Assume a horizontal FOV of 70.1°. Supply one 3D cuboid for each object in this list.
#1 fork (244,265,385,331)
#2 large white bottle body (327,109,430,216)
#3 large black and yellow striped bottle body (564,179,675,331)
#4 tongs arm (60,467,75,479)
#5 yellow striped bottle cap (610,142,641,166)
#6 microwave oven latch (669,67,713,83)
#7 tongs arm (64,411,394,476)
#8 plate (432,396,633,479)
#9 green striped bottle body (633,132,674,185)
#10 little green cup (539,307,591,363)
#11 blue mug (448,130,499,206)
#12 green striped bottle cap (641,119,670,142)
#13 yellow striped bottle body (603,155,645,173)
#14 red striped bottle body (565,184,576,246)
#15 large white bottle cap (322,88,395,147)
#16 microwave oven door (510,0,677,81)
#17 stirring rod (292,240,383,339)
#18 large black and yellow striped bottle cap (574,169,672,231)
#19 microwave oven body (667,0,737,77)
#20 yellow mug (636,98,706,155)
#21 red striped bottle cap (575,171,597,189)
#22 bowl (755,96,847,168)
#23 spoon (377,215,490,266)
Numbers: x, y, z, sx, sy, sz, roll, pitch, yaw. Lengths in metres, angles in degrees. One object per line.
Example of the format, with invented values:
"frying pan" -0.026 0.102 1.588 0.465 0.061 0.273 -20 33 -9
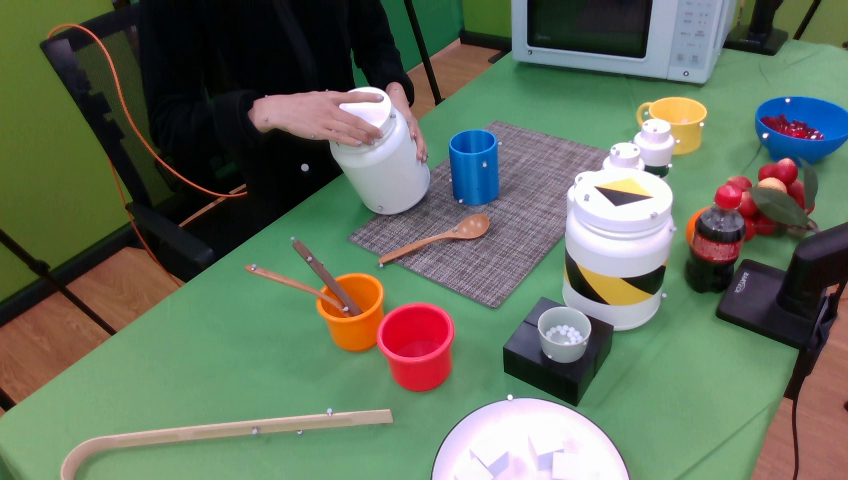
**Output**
"fork" -0.142 0.078 0.806 0.209 0.018 0.028 30 33 -24
"large white bottle body" -0.076 -0.140 1.002 0.130 0.186 0.130 -9 55 14
"large black and yellow striped bottle body" 0.253 0.014 0.793 0.131 0.185 0.130 -5 40 4
"tongs arm" -0.239 0.301 0.649 0.386 0.028 0.028 6 49 16
"yellow striped bottle cap" 0.308 -0.131 0.925 0.044 0.019 0.044 -4 46 4
"microwave oven latch" 0.556 -0.348 1.262 0.078 0.029 0.030 16 46 27
"tongs arm" -0.228 0.241 0.715 0.385 0.026 0.050 -5 44 4
"plate" 0.112 0.261 0.634 0.209 0.038 0.208 -5 40 4
"green striped bottle body" 0.376 -0.135 1.001 0.063 0.120 0.063 -5 40 5
"little green cup" 0.167 0.114 0.721 0.061 0.039 0.061 -4 43 4
"blue mug" 0.091 -0.134 1.052 0.082 0.106 0.116 4 41 14
"green striped bottle cap" 0.371 -0.175 0.968 0.044 0.020 0.044 -4 42 4
"yellow striped bottle body" 0.314 -0.090 0.957 0.063 0.121 0.062 -4 40 4
"red striped bottle body" 0.247 -0.041 0.910 0.063 0.120 0.062 -3 39 3
"large white bottle cap" -0.101 -0.189 0.932 0.114 0.018 0.114 -9 53 12
"microwave oven door" 0.354 -0.478 1.290 0.353 0.245 0.039 15 45 25
"stirring rod" -0.118 0.068 0.826 0.176 0.006 0.014 49 58 -4
"large black and yellow striped bottle cap" 0.242 -0.051 0.738 0.115 0.019 0.114 -4 37 3
"microwave oven body" 0.462 -0.552 1.369 0.439 0.261 0.326 15 45 26
"yellow mug" 0.453 -0.217 1.128 0.100 0.064 0.129 -34 46 -27
"red striped bottle cap" 0.242 -0.081 0.876 0.044 0.018 0.044 -5 44 5
"bowl" 0.645 -0.177 1.041 0.151 0.077 0.150 -5 40 4
"spoon" 0.015 0.001 0.966 0.194 0.022 0.041 -18 61 -12
